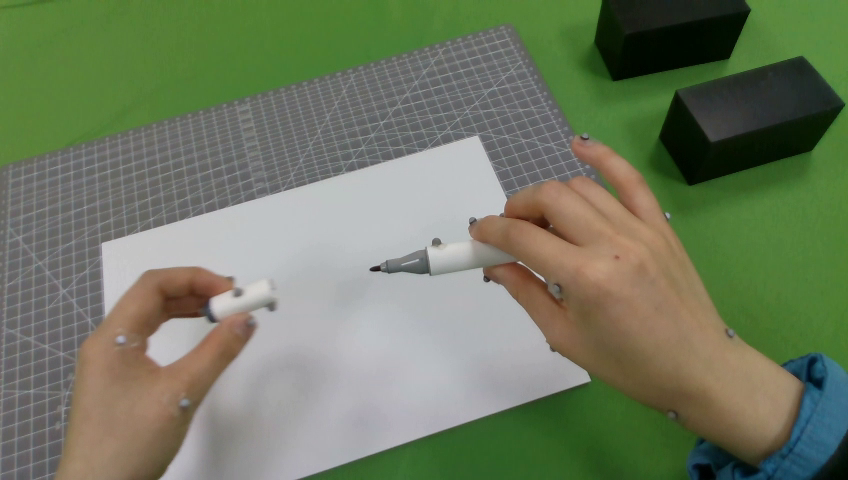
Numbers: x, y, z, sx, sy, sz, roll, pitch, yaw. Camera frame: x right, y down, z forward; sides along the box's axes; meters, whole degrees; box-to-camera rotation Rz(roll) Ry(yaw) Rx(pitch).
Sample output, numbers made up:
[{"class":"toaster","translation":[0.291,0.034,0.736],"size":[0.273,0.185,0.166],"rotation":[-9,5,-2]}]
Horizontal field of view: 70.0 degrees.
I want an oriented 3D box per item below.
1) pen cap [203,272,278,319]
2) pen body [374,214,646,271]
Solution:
[{"class":"pen cap","translation":[-0.100,0.031,0.330],"size":[0.038,0.017,0.017],"rotation":[-18,61,-6]},{"class":"pen body","translation":[0.045,0.003,0.320],"size":[0.144,0.017,0.016],"rotation":[-7,60,-2]}]
